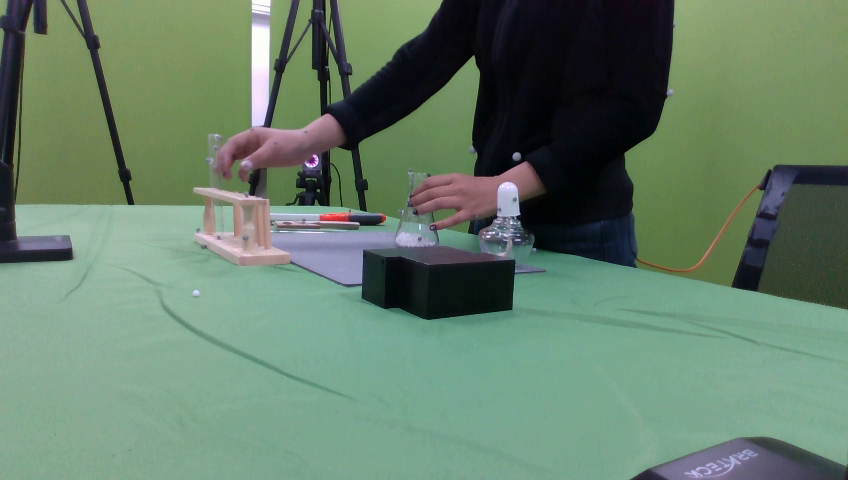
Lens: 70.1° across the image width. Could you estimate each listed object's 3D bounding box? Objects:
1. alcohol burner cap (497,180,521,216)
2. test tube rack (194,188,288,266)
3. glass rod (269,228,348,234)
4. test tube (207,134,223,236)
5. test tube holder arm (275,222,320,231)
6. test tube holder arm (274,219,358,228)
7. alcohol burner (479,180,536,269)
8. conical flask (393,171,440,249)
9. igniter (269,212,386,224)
[{"bbox_3d":[0.113,-0.056,0.809,0.034,0.048,0.034,-4,12,1],"label":"alcohol burner cap"},{"bbox_3d":[-0.267,-0.025,0.863,0.067,0.085,0.241,-2,9,-33],"label":"test tube rack"},{"bbox_3d":[-0.235,-0.017,1.103,0.201,0.008,0.008,1,7,-25],"label":"glass rod"},{"bbox_3d":[-0.306,-0.080,0.885,0.017,0.150,0.017,0,8,0],"label":"test tube"},{"bbox_3d":[-0.239,-0.026,1.144,0.088,0.015,0.010,-2,44,-38],"label":"test tube holder arm"},{"bbox_3d":[-0.206,-0.031,1.176,0.179,0.015,0.013,-4,45,-40],"label":"test tube holder arm"},{"bbox_3d":[0.113,-0.021,0.815,0.078,0.119,0.078,2,9,0],"label":"alcohol burner"},{"bbox_3d":[-0.010,-0.050,0.968,0.075,0.122,0.075,3,7,0],"label":"conical flask"},{"bbox_3d":[-0.214,-0.047,1.278,0.278,0.025,0.057,-1,-2,-25],"label":"igniter"}]
